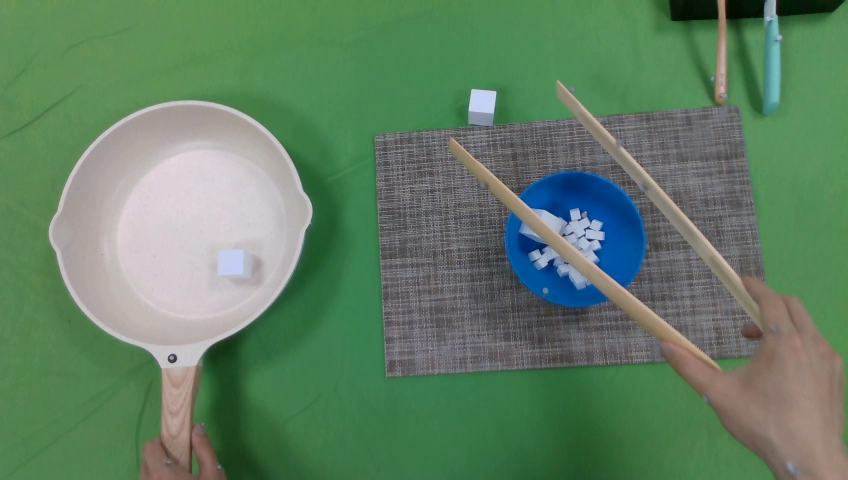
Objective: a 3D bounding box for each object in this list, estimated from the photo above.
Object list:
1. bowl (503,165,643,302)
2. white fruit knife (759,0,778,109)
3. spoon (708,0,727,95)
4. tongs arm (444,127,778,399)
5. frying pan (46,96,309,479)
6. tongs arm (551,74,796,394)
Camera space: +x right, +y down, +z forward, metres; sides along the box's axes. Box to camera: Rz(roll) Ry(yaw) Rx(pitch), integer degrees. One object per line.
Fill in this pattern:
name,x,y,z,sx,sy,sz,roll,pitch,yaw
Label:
bowl,0.162,-0.002,0.688,0.151,0.077,0.151,0,81,3
white fruit knife,0.408,-0.263,0.719,0.016,0.027,0.207,-3,95,-2
spoon,0.352,-0.272,0.718,0.041,0.022,0.194,8,103,27
tongs arm,0.139,0.003,0.553,0.028,0.028,0.383,-32,56,-19
frying pan,-0.275,0.077,0.689,0.307,0.103,0.484,-4,72,3
tongs arm,0.204,-0.032,0.566,0.051,0.027,0.380,-25,55,-9
